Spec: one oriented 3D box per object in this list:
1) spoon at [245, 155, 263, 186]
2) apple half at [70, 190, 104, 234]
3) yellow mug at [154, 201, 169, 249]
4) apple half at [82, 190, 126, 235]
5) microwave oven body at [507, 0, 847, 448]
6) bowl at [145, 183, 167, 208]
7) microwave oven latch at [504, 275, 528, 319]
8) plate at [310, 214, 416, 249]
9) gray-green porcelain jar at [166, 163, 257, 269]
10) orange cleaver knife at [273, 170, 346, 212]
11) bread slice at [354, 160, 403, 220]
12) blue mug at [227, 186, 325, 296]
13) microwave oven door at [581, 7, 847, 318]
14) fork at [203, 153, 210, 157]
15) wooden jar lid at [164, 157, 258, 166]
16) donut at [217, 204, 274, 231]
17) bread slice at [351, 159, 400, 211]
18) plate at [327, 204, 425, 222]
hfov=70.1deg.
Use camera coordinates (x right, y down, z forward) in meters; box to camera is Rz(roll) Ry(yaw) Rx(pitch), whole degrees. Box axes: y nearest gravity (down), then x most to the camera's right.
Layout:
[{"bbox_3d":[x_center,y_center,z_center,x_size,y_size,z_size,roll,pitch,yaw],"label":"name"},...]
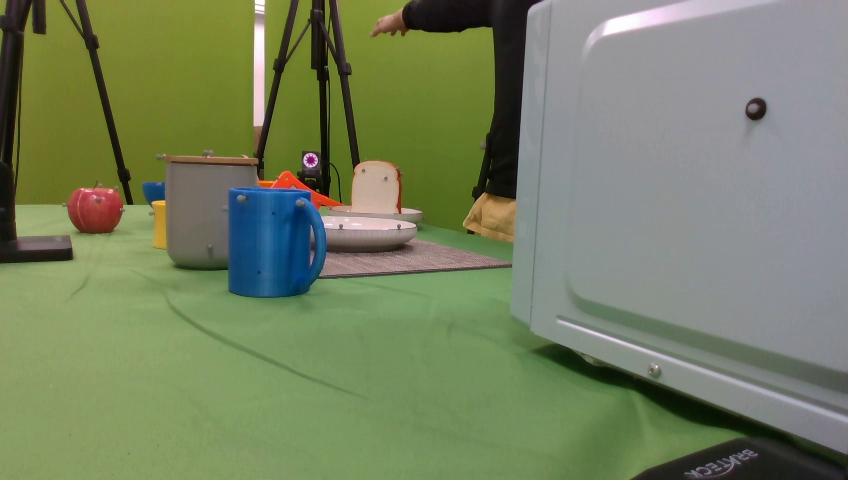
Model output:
[{"bbox_3d":[-0.421,-0.150,1.540,0.042,0.193,0.021,-5,-35,-37],"label":"spoon"},{"bbox_3d":[-0.552,-0.047,1.009,0.053,0.074,0.081,-1,9,26],"label":"apple half"},{"bbox_3d":[-0.337,-0.022,0.899,0.130,0.064,0.100,8,9,34],"label":"yellow mug"},{"bbox_3d":[-0.516,-0.046,0.994,0.032,0.081,0.081,0,6,26],"label":"apple half"},{"bbox_3d":[0.331,-0.042,0.425,0.444,0.260,0.324,-2,8,-31],"label":"microwave oven body"},{"bbox_3d":[-0.459,-0.068,1.175,0.151,0.077,0.151,2,7,0],"label":"bowl"},{"bbox_3d":[0.100,0.041,0.471,0.079,0.029,0.030,-1,7,-28],"label":"microwave oven latch"},{"bbox_3d":[-0.117,-0.014,0.967,0.208,0.039,0.207,2,7,0],"label":"plate"},{"bbox_3d":[-0.263,-0.031,0.754,0.106,0.126,0.106,2,7,0],"label":"gray-green porcelain jar"},{"bbox_3d":[-0.253,-0.089,1.368,0.212,0.077,0.012,26,-8,-42],"label":"orange cleaver knife"},{"bbox_3d":[-0.095,-0.110,1.325,0.105,0.131,0.019,5,2,6],"label":"bread slice"},{"bbox_3d":[-0.146,0.000,0.618,0.116,0.106,0.083,7,9,32],"label":"blue mug"},{"bbox_3d":[0.295,-0.067,0.570,0.358,0.243,0.039,-3,8,-31],"label":"microwave oven door"},{"bbox_3d":[-0.480,-0.136,1.411,0.028,0.018,0.207,0,-34,-1],"label":"fork"},{"bbox_3d":[-0.261,-0.093,0.746,0.108,0.020,0.108,0,9,0],"label":"wooden jar lid"},{"bbox_3d":[-0.317,-0.038,1.080,0.099,0.048,0.099,3,7,0],"label":"donut"},{"bbox_3d":[-0.102,-0.104,1.273,0.107,0.134,0.018,-1,4,4],"label":"bread slice"},{"bbox_3d":[-0.102,-0.053,1.299,0.209,0.038,0.209,2,7,0],"label":"plate"}]
